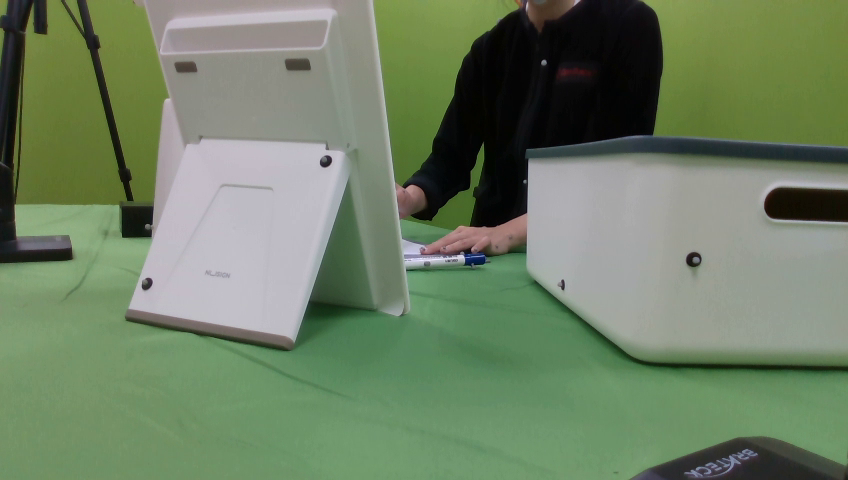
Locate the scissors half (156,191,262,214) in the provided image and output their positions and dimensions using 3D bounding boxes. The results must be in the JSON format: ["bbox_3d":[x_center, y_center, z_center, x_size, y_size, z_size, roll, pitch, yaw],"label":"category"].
[{"bbox_3d":[-0.371,-0.069,1.051,0.176,0.040,0.013,1,26,-24],"label":"scissors half"}]

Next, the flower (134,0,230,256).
[{"bbox_3d":[-0.282,-0.147,0.713,0.038,0.362,0.044,-23,24,-31],"label":"flower"}]

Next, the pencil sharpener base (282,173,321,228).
[{"bbox_3d":[-0.247,-0.080,1.212,0.061,0.107,0.076,-2,5,-28],"label":"pencil sharpener base"}]

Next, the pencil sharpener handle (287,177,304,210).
[{"bbox_3d":[-0.269,-0.096,1.257,0.036,0.067,0.030,-8,8,-27],"label":"pencil sharpener handle"}]

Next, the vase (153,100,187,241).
[{"bbox_3d":[-0.278,-0.066,0.736,0.098,0.200,0.098,2,9,0],"label":"vase"}]

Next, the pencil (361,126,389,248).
[{"bbox_3d":[-0.075,-0.082,0.937,0.012,0.194,0.012,-11,2,1],"label":"pencil"}]

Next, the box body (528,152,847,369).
[{"bbox_3d":[0.258,-0.005,0.591,0.254,0.160,0.363,2,7,-4],"label":"box body"}]

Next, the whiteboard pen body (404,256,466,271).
[{"bbox_3d":[0.013,0.030,0.792,0.141,0.017,0.017,-2,9,-24],"label":"whiteboard pen body"}]

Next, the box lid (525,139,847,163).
[{"bbox_3d":[0.261,-0.078,0.580,0.264,0.015,0.371,2,7,-4],"label":"box lid"}]

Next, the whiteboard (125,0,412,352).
[{"bbox_3d":[-0.151,-0.049,0.472,0.216,0.305,0.144,6,27,24],"label":"whiteboard"}]

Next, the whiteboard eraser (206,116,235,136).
[{"bbox_3d":[-0.450,-0.252,1.335,0.056,0.042,0.112,1,7,-22],"label":"whiteboard eraser"}]

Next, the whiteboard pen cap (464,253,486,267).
[{"bbox_3d":[0.066,0.027,0.818,0.033,0.018,0.018,-5,10,-24],"label":"whiteboard pen cap"}]

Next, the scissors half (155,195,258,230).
[{"bbox_3d":[-0.378,-0.051,1.059,0.176,0.040,0.012,20,22,-31],"label":"scissors half"}]
